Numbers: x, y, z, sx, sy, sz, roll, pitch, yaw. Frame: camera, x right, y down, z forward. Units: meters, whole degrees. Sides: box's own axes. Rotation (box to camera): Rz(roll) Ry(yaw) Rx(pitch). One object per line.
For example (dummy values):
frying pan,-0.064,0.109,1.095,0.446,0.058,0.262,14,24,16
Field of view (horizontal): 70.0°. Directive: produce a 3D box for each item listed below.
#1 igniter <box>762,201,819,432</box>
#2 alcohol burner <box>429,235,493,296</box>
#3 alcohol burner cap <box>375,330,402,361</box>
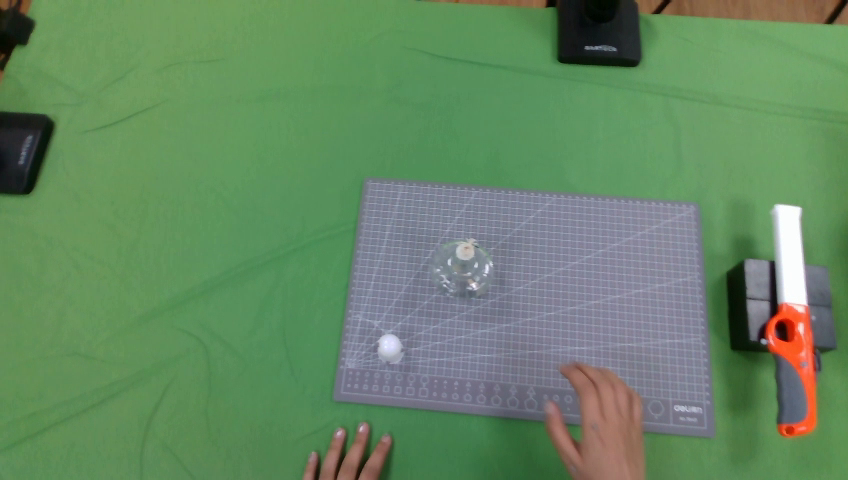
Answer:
igniter,0.420,0.082,0.698,0.057,0.025,0.275,8,68,7
alcohol burner,0.045,0.025,0.721,0.078,0.120,0.077,1,69,-1
alcohol burner cap,-0.044,0.124,0.724,0.034,0.048,0.033,0,69,0
